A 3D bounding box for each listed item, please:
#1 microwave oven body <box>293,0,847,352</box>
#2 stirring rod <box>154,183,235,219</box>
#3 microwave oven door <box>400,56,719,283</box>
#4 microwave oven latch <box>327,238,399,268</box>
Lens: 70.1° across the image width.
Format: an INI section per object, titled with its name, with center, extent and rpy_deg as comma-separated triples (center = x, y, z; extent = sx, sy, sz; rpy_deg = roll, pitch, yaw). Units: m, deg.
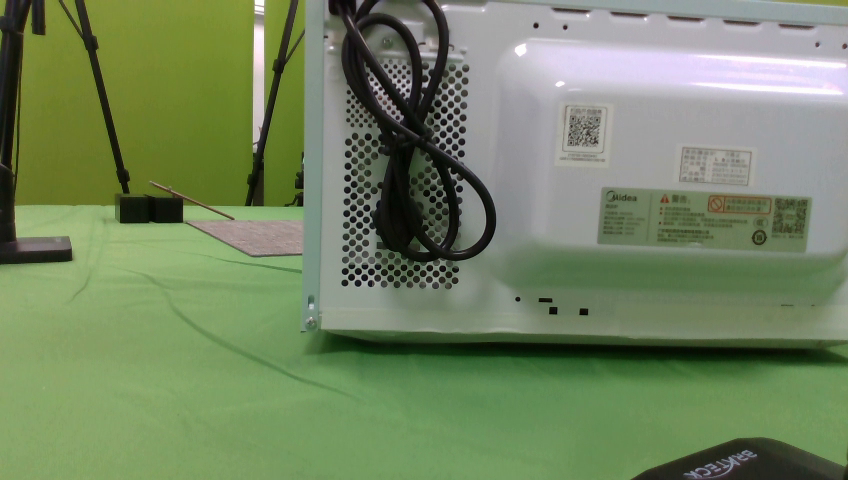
[microwave oven body]
center = 0.122, -0.055, 0.550
extent = 0.442, 0.260, 0.325
rpy_deg = 3, 7, -5
[stirring rod]
center = -0.472, -0.079, 1.252
extent = 0.177, 0.006, 0.014
rpy_deg = 27, 4, -35
[microwave oven door]
center = 0.155, -0.077, 0.697
extent = 0.356, 0.243, 0.039
rpy_deg = 2, 8, -5
[microwave oven latch]
center = -0.069, 0.015, 0.694
extent = 0.079, 0.029, 0.030
rpy_deg = 3, 7, -3
